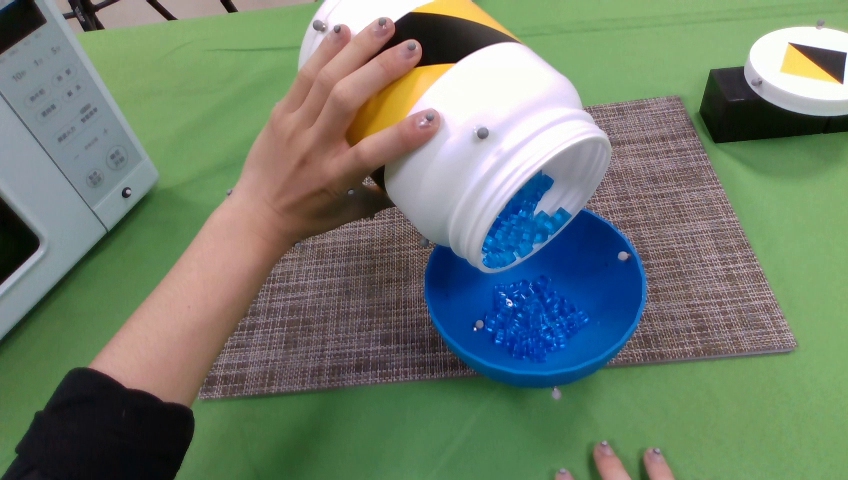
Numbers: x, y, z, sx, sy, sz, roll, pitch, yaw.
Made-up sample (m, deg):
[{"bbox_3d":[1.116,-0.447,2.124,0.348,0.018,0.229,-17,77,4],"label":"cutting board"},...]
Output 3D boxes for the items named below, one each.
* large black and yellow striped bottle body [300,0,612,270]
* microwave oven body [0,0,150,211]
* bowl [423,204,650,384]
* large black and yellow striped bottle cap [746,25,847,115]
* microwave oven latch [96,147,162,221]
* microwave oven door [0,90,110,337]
[{"bbox_3d":[0.018,-0.081,0.399,0.131,0.132,0.182,-33,63,-18],"label":"large black and yellow striped bottle body"},{"bbox_3d":[-0.514,-0.031,0.475,0.324,0.263,0.439,17,56,21],"label":"microwave oven body"},{"bbox_3d":[0.078,0.047,0.441,0.151,0.077,0.150,-4,50,6],"label":"bowl"},{"bbox_3d":[0.356,-0.156,0.548,0.115,0.019,0.114,-5,49,6],"label":"large black and yellow striped bottle cap"},{"bbox_3d":[-0.293,-0.057,0.592,0.030,0.030,0.079,19,56,22],"label":"microwave oven latch"},{"bbox_3d":[-0.403,0.035,0.397,0.039,0.246,0.354,17,55,22],"label":"microwave oven door"}]
